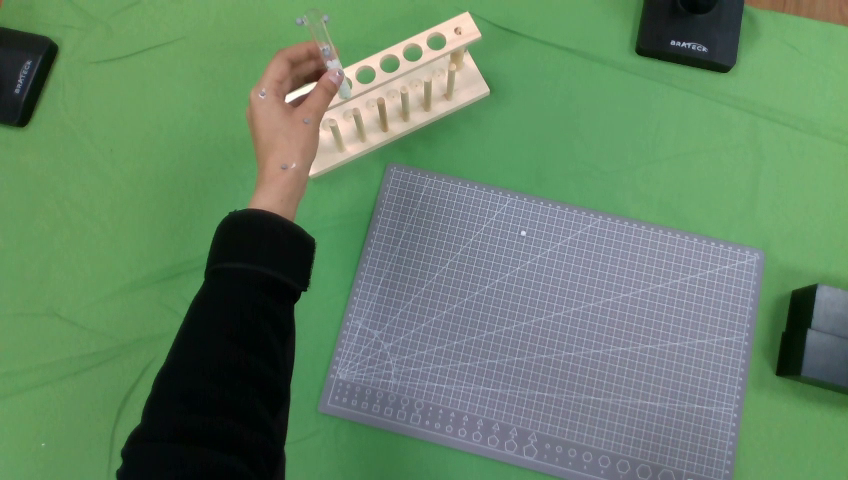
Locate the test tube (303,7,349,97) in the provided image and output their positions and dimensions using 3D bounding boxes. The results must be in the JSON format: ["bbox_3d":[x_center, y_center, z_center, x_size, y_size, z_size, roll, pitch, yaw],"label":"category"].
[{"bbox_3d":[-0.087,-0.167,0.557,0.017,0.151,0.017,0,80,2],"label":"test tube"}]

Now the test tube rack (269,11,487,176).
[{"bbox_3d":[-0.046,-0.166,0.701,0.242,0.085,0.066,-26,78,-5],"label":"test tube rack"}]
